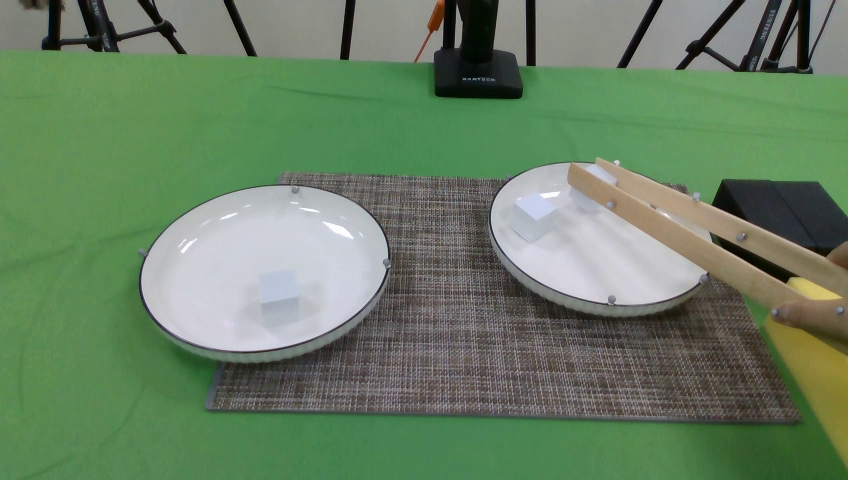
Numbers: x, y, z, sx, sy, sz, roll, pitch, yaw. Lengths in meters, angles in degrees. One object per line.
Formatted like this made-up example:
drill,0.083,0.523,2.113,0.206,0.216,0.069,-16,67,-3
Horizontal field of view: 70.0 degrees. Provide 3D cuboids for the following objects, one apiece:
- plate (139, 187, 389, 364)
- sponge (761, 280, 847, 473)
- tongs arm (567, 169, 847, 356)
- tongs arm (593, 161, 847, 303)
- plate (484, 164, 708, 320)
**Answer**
plate,-0.134,0.029,0.532,0.209,0.038,0.207,2,42,-1
sponge,0.361,0.122,0.447,0.118,0.061,0.204,-1,42,-4
tongs arm,0.245,0.023,0.468,0.028,0.028,0.383,-16,34,-26
tongs arm,0.265,0.016,0.478,0.051,0.027,0.380,-22,37,-28
plate,0.160,0.002,0.580,0.208,0.039,0.205,2,42,-1
